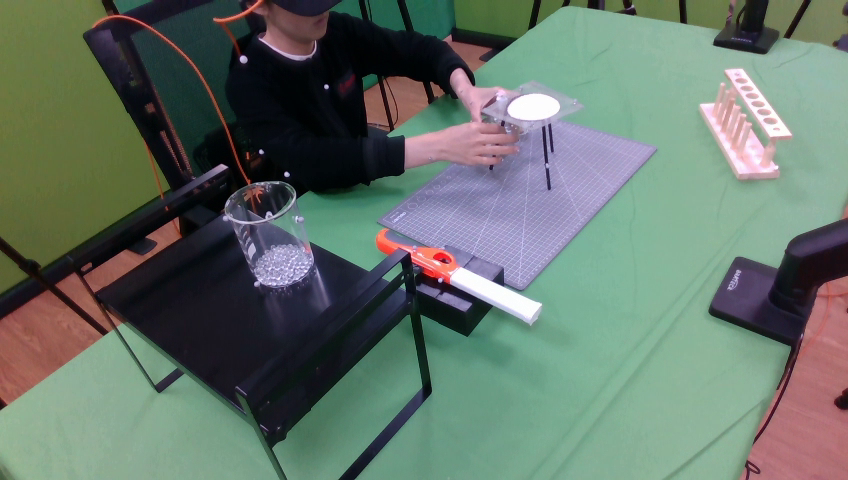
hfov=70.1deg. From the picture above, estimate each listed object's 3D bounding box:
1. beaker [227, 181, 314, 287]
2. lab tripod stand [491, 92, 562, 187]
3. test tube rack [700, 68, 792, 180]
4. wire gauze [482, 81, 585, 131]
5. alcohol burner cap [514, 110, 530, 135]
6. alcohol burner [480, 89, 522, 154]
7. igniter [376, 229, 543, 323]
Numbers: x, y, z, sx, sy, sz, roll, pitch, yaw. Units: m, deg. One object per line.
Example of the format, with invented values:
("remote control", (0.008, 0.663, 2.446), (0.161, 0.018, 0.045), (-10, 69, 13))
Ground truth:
("beaker", (-0.166, -0.006, 0.670), (0.074, 0.101, 0.083), (-8, 40, 0))
("lab tripod stand", (0.190, -0.181, 1.066), (0.148, 0.132, 0.147), (-5, 42, 5))
("test tube rack", (0.571, -0.215, 1.089), (0.066, 0.085, 0.241), (-3, 41, 7))
("wire gauze", (0.183, -0.224, 1.015), (0.125, 0.011, 0.120), (-31, 46, -23))
("alcohol burner cap", (0.194, -0.236, 1.200), (0.034, 0.048, 0.033), (-4, 42, 4))
("alcohol burner", (0.144, -0.221, 1.114), (0.078, 0.119, 0.077), (1, 38, 0))
("igniter", (0.038, 0.044, 0.843), (0.274, 0.025, 0.057), (25, 47, 29))
